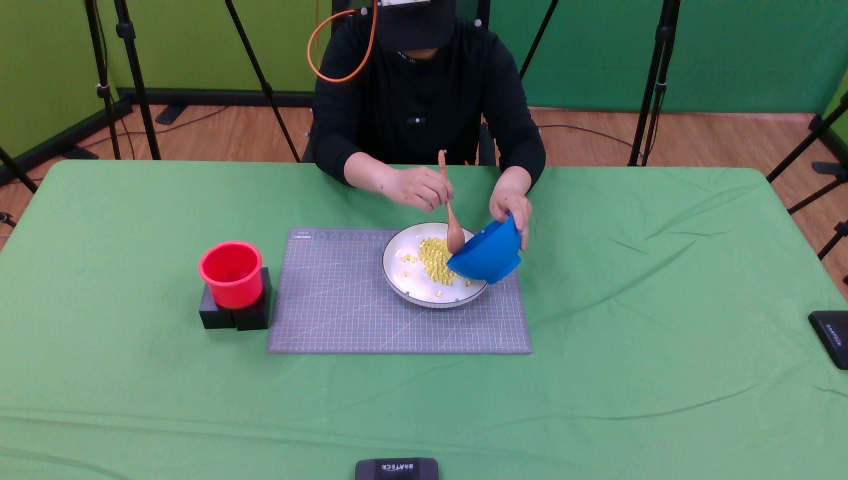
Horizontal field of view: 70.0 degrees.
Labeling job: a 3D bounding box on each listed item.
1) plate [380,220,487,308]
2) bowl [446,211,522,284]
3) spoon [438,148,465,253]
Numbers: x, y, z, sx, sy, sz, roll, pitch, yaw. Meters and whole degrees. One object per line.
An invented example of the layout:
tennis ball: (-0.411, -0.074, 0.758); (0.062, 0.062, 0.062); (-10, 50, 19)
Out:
plate: (0.022, 0.048, 1.138); (0.208, 0.039, 0.206); (2, 46, -2)
bowl: (0.120, 0.025, 1.072); (0.077, 0.151, 0.151); (51, 56, -4)
spoon: (0.045, -0.071, 1.108); (0.042, 0.021, 0.193); (-13, 93, -28)
